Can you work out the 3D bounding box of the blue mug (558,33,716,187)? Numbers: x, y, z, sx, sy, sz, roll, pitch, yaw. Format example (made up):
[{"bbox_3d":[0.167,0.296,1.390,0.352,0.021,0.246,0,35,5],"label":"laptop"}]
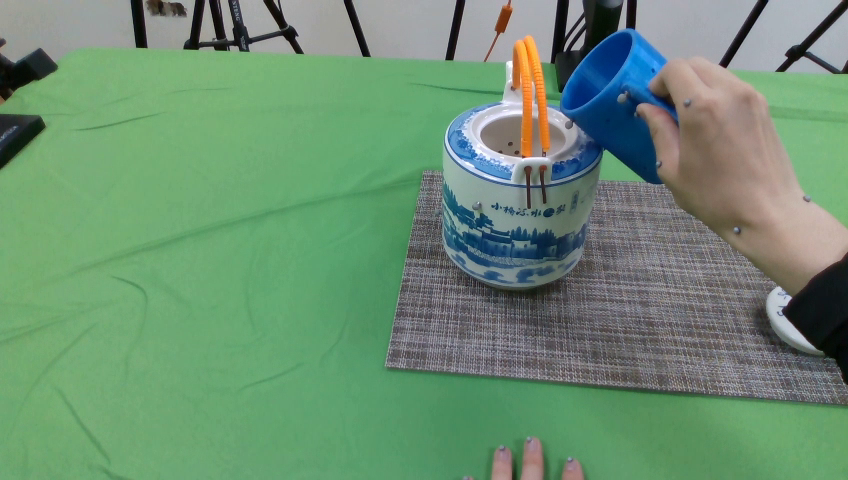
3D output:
[{"bbox_3d":[0.177,-0.100,0.491,0.106,0.082,0.115,33,13,-19],"label":"blue mug"}]

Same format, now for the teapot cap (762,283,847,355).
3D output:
[{"bbox_3d":[0.353,0.066,0.547,0.085,0.044,0.084,1,41,-1],"label":"teapot cap"}]

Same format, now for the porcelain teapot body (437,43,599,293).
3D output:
[{"bbox_3d":[0.085,-0.087,0.586,0.145,0.227,0.203,-1,41,-1],"label":"porcelain teapot body"}]
